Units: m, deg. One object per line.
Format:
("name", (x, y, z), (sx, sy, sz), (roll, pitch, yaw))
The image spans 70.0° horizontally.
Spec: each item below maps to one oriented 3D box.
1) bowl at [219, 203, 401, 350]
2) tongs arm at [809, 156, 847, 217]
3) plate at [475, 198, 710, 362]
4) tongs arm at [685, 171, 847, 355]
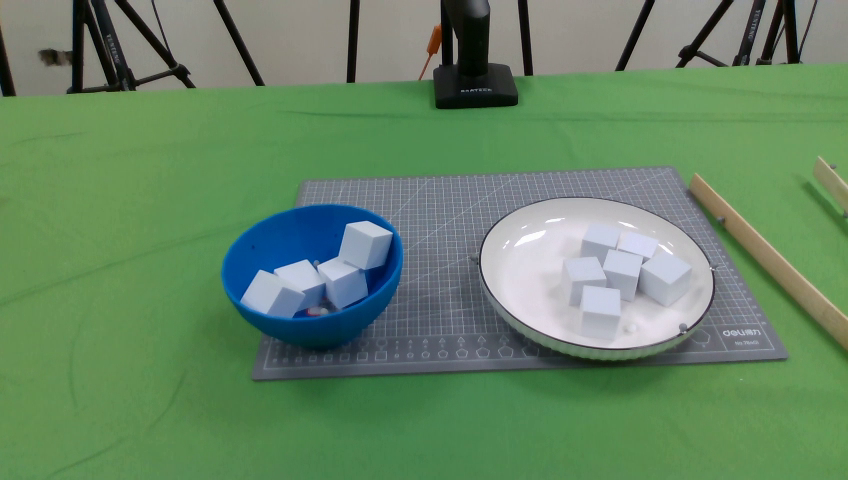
("bowl", (-0.093, 0.042, 0.529), (0.151, 0.077, 0.150), (-1, 39, 1))
("tongs arm", (0.429, 0.038, 0.550), (0.051, 0.027, 0.381), (-3, 40, 0))
("plate", (0.150, 0.035, 0.559), (0.208, 0.039, 0.205), (-1, 39, 1))
("tongs arm", (0.351, 0.048, 0.546), (0.028, 0.028, 0.383), (-9, 40, -12))
